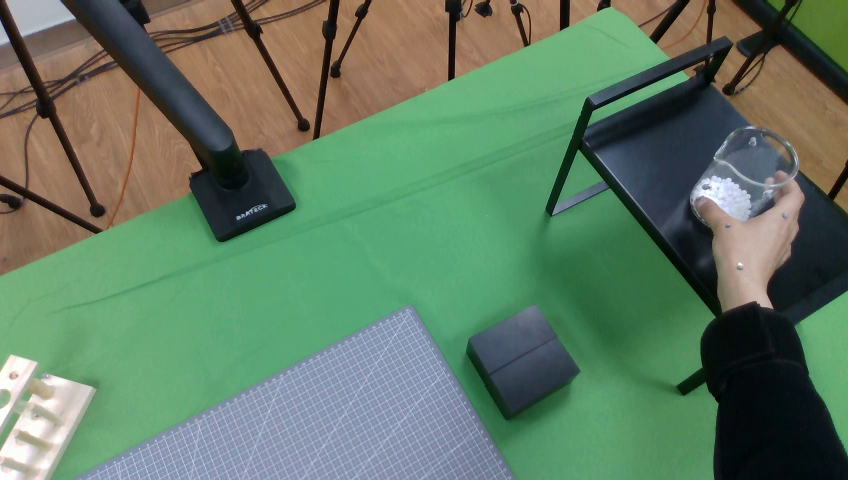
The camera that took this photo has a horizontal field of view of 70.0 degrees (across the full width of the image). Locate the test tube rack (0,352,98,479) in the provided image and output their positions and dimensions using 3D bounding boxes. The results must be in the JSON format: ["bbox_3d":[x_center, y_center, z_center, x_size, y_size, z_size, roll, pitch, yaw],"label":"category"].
[{"bbox_3d":[-0.466,0.256,0.663,0.066,0.086,0.241,14,63,6],"label":"test tube rack"}]

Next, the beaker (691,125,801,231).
[{"bbox_3d":[0.334,-0.061,0.646,0.084,0.101,0.073,0,61,0],"label":"beaker"}]

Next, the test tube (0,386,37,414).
[{"bbox_3d":[-0.466,0.164,0.655,0.017,0.151,0.017,-1,61,2],"label":"test tube"}]
